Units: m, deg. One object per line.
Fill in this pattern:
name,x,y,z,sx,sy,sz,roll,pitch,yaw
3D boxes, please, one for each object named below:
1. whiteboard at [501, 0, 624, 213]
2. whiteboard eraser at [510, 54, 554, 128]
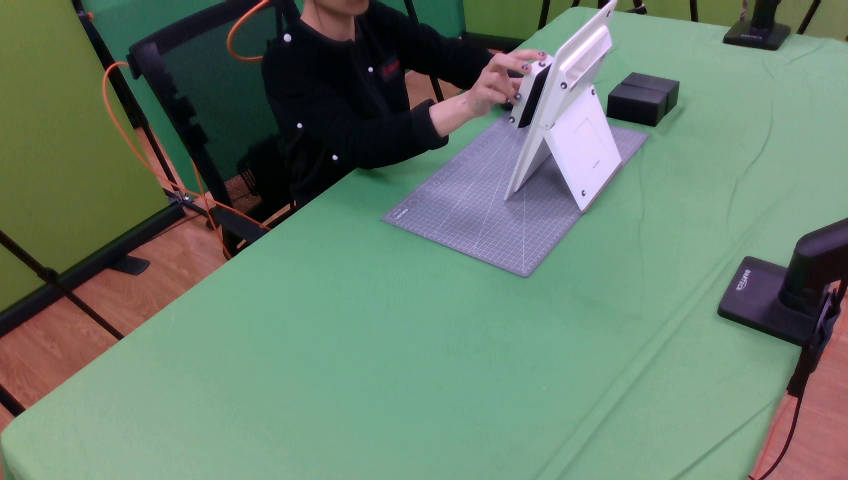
whiteboard,0.271,-0.189,0.978,0.143,0.306,0.218,34,53,16
whiteboard eraser,0.169,-0.223,0.922,0.041,0.113,0.056,37,59,15
